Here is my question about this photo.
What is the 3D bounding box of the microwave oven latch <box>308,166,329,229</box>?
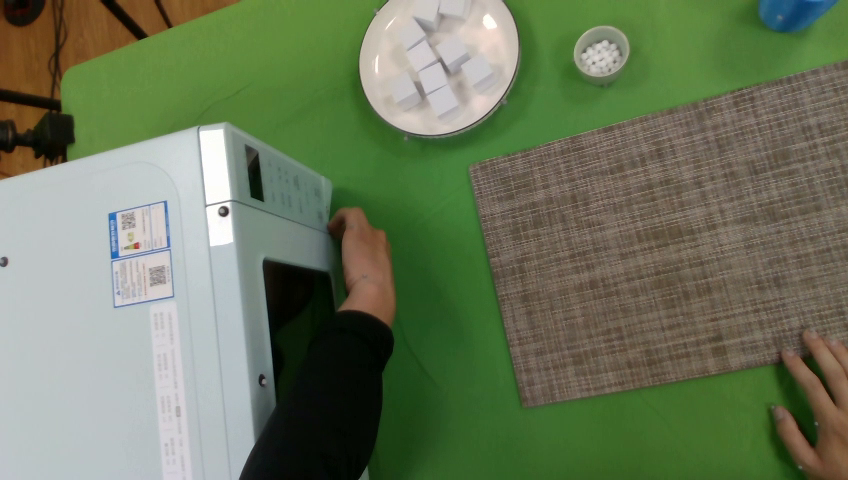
[{"bbox_3d":[-0.140,-0.052,0.770,0.030,0.029,0.079,6,85,15],"label":"microwave oven latch"}]

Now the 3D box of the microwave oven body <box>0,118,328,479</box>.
[{"bbox_3d":[-0.274,0.139,0.684,0.325,0.261,0.440,-11,81,13],"label":"microwave oven body"}]

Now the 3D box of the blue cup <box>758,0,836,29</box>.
[{"bbox_3d":[0.398,-0.271,0.636,0.092,0.100,0.092,-1,84,14],"label":"blue cup"}]

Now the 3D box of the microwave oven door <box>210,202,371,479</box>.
[{"bbox_3d":[-0.130,0.152,0.638,0.039,0.245,0.354,-11,80,14],"label":"microwave oven door"}]

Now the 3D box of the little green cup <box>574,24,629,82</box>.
[{"bbox_3d":[0.209,-0.218,0.714,0.061,0.039,0.061,-2,82,16],"label":"little green cup"}]

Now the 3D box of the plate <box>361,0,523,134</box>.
[{"bbox_3d":[0.023,-0.231,0.767,0.207,0.039,0.207,-2,83,15],"label":"plate"}]

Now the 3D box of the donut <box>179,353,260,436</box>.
[{"bbox_3d":[-0.241,0.182,0.714,0.099,0.048,0.099,0,93,12],"label":"donut"}]

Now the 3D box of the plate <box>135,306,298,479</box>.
[{"bbox_3d":[-0.243,0.182,0.723,0.208,0.038,0.208,-2,84,14],"label":"plate"}]
